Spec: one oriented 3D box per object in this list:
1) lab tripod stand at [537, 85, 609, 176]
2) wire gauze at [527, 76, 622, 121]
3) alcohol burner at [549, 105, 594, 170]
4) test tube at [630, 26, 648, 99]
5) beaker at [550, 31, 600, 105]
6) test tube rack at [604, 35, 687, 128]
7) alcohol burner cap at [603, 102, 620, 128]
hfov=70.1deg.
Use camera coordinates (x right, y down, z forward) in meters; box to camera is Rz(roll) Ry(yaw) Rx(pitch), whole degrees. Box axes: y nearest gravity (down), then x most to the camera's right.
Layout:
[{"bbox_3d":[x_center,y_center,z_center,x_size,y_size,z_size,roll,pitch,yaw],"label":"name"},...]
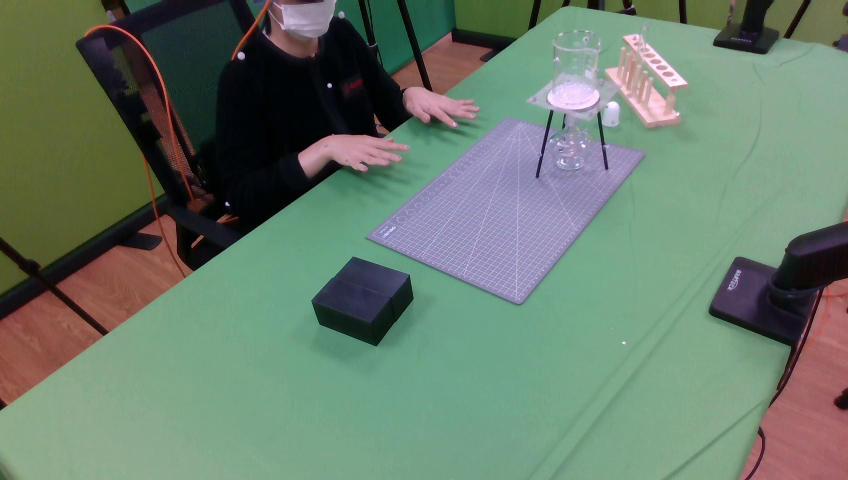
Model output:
[{"bbox_3d":[0.259,-0.192,1.068,0.148,0.132,0.147,-4,43,4],"label":"lab tripod stand"},{"bbox_3d":[0.255,-0.247,1.030,0.124,0.011,0.122,23,49,34],"label":"wire gauze"},{"bbox_3d":[0.262,-0.186,1.076,0.078,0.119,0.077,-6,41,6],"label":"alcohol burner"},{"bbox_3d":[0.426,-0.350,1.199,0.017,0.151,0.017,-4,42,4],"label":"test tube"},{"bbox_3d":[0.250,-0.281,0.996,0.074,0.101,0.083,-37,49,-27],"label":"beaker"},{"bbox_3d":[0.447,-0.330,1.241,0.067,0.085,0.241,-9,41,-2],"label":"test tube rack"},{"bbox_3d":[0.371,-0.249,1.193,0.034,0.048,0.033,-5,41,5],"label":"alcohol burner cap"}]
